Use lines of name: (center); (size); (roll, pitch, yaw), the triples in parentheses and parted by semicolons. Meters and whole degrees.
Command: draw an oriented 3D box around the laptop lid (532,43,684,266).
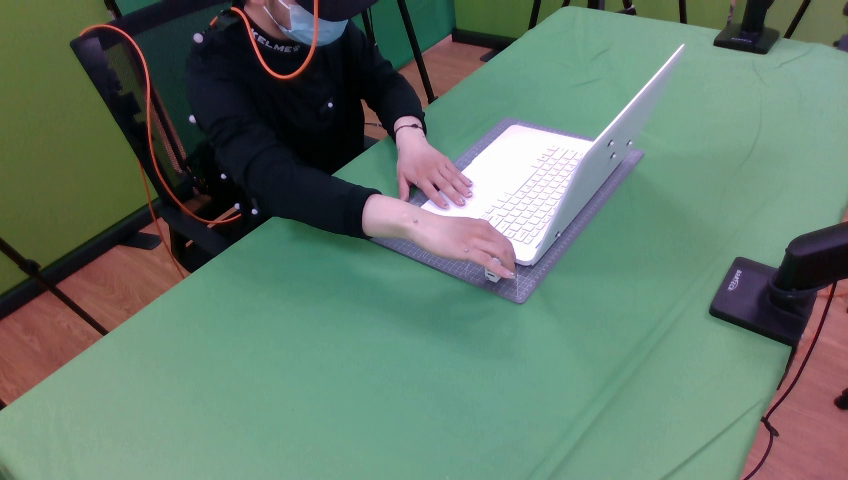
laptop lid: (0.280, -0.130, 0.907); (0.013, 0.242, 0.357); (34, 52, 17)

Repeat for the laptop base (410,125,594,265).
laptop base: (0.169, -0.094, 1.056); (0.233, 0.023, 0.355); (19, 47, 32)

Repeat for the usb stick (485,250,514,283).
usb stick: (0.115, 0.035, 0.895); (0.021, 0.027, 0.059); (24, 47, 31)
